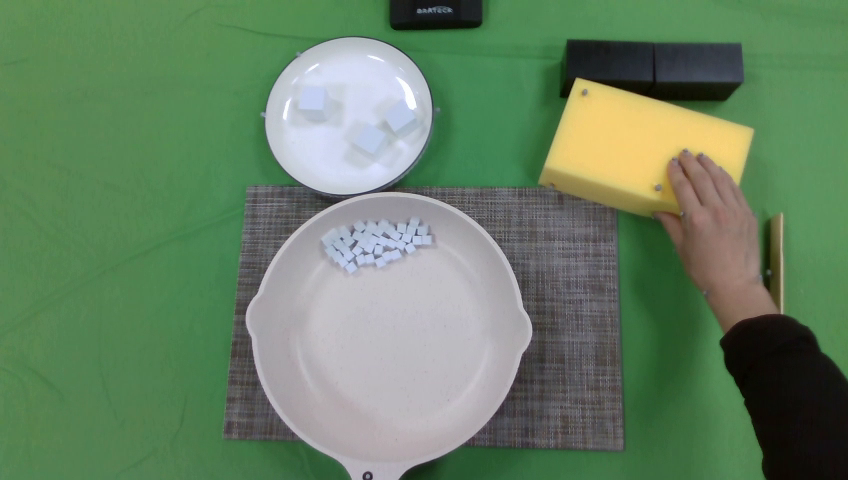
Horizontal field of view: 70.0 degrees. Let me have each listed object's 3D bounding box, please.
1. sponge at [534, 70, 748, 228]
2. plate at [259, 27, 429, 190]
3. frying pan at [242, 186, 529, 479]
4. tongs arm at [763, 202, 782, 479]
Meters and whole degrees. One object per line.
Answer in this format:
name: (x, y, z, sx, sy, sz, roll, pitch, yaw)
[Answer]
sponge: (0.246, -0.105, 0.701, 0.206, 0.061, 0.118, 18, 78, 7)
plate: (-0.096, -0.158, 0.747, 0.207, 0.039, 0.206, -1, 79, 4)
frying pan: (-0.050, 0.185, 0.637, 0.306, 0.103, 0.484, 3, 71, 5)
tongs arm: (0.389, 0.147, 0.662, 0.028, 0.028, 0.386, 4, 80, 2)
